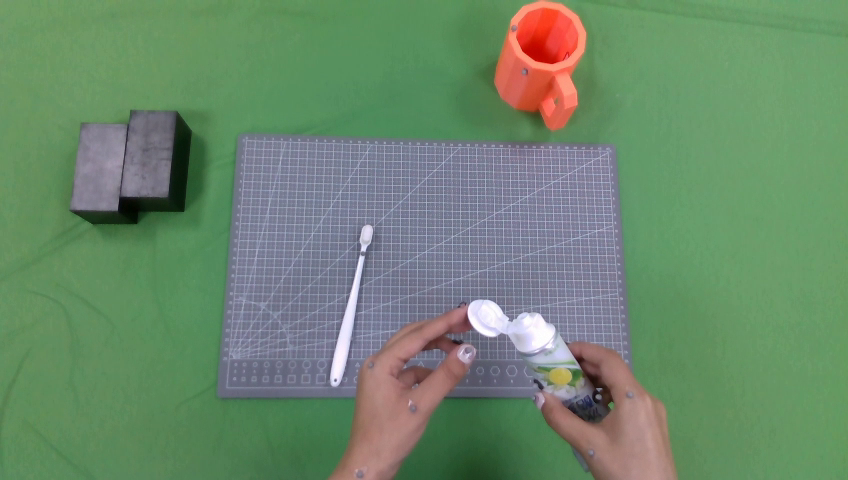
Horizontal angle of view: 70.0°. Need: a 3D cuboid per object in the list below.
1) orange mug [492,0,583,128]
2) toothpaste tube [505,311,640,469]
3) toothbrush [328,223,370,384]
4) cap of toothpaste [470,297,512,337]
[{"bbox_3d":[0.136,-0.198,0.704,0.083,0.101,0.125,-20,74,-8],"label":"orange mug"},{"bbox_3d":[0.117,0.125,0.501,0.055,0.034,0.166,-28,108,20],"label":"toothpaste tube"},{"bbox_3d":[-0.082,0.066,0.665,0.014,0.016,0.181,14,77,-14],"label":"toothbrush"},{"bbox_3d":[0.054,0.061,0.490,0.037,0.011,0.037,16,50,-20],"label":"cap of toothpaste"}]
